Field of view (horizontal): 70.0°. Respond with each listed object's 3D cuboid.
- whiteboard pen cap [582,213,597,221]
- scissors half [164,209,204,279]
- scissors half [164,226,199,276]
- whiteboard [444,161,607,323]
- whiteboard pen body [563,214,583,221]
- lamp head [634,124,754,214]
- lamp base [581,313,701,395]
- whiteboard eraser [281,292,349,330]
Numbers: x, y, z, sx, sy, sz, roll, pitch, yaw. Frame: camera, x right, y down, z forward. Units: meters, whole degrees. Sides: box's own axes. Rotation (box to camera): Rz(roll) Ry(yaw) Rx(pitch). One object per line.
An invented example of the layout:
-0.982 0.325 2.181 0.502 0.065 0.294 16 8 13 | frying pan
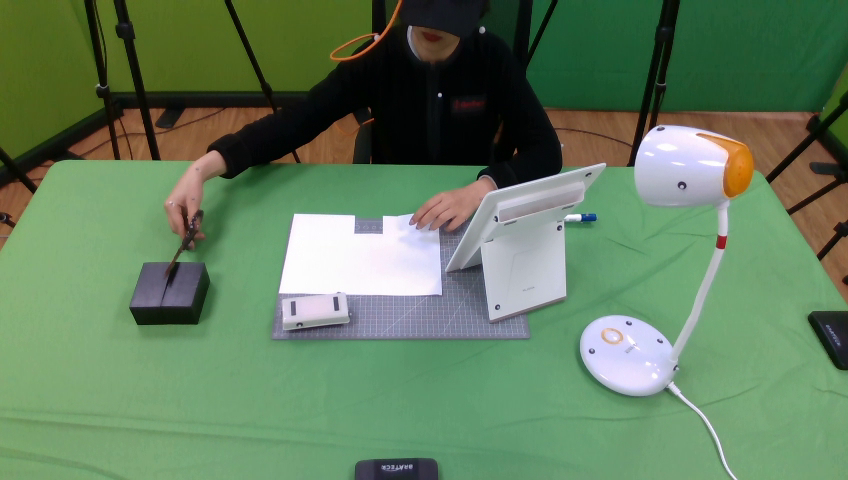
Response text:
0.342 -0.048 1.260 0.033 0.018 0.018 -3 46 -3 | whiteboard pen cap
-0.433 0.005 1.093 0.013 0.040 0.174 23 46 -14 | scissors half
-0.442 0.020 1.106 0.013 0.040 0.174 19 23 -11 | scissors half
0.186 0.025 1.029 0.217 0.306 0.143 -14 68 -18 | whiteboard
0.283 -0.047 1.257 0.141 0.017 0.017 -1 46 -2 | whiteboard pen body
0.351 -0.089 0.776 0.112 0.113 0.122 -30 30 -28 | lamp head
0.361 0.144 0.973 0.178 0.181 0.160 34 53 23 | lamp base
-0.189 0.124 1.045 0.113 0.042 0.055 -6 46 -10 | whiteboard eraser
